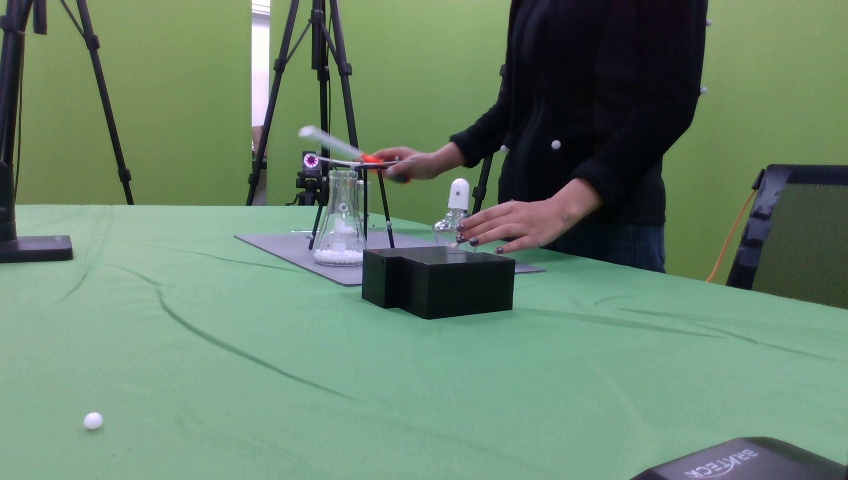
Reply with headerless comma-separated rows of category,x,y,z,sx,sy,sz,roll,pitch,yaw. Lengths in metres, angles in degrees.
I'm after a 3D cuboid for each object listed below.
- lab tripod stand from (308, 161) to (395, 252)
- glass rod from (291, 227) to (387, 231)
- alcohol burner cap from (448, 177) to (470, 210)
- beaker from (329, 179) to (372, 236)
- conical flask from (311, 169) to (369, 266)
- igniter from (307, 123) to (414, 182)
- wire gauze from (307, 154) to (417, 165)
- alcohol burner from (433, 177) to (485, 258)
lab tripod stand,-0.098,-0.053,0.919,0.148,0.131,0.148,4,7,0
glass rod,-0.161,-0.023,1.177,0.201,0.008,0.008,-1,8,-29
alcohol burner cap,0.052,-0.069,0.889,0.034,0.048,0.034,4,3,0
beaker,-0.137,-0.061,1.101,0.084,0.100,0.074,4,7,20
conical flask,-0.107,-0.031,0.786,0.075,0.122,0.075,2,8,0
igniter,-0.119,-0.170,1.210,0.057,0.025,0.278,6,-11,41
wire gauze,-0.094,-0.120,0.913,0.122,0.011,0.124,-5,11,-45
alcohol burner,0.052,-0.033,0.894,0.078,0.119,0.078,2,9,0
